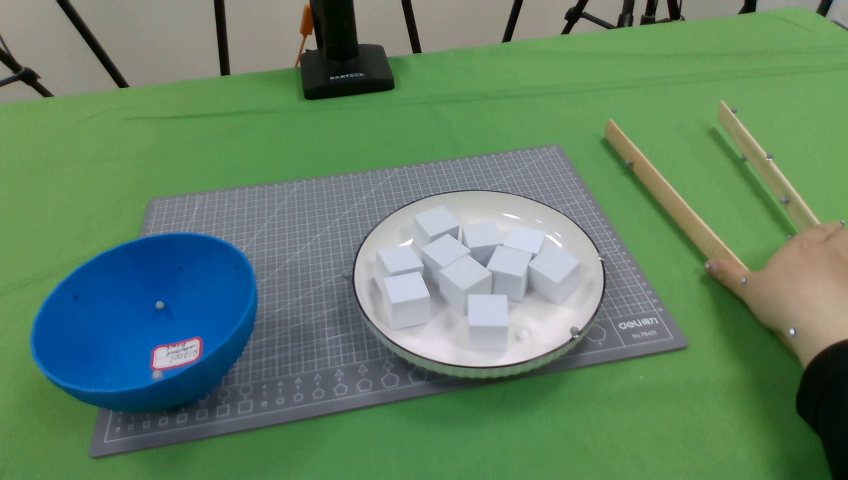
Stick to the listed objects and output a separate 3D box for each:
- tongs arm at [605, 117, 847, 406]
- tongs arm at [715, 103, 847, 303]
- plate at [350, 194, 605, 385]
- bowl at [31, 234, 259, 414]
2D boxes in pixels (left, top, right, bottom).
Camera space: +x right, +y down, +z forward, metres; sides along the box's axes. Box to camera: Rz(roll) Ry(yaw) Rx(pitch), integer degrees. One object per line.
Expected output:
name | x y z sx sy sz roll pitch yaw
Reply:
tongs arm | 0.261 -0.007 0.557 0.028 0.028 0.383 -9 43 -12
tongs arm | 0.332 -0.017 0.561 0.051 0.027 0.380 -4 43 -2
plate | 0.044 0.038 0.508 0.208 0.039 0.205 -1 42 1
bowl | -0.191 0.073 0.449 0.151 0.077 0.150 -1 42 1
